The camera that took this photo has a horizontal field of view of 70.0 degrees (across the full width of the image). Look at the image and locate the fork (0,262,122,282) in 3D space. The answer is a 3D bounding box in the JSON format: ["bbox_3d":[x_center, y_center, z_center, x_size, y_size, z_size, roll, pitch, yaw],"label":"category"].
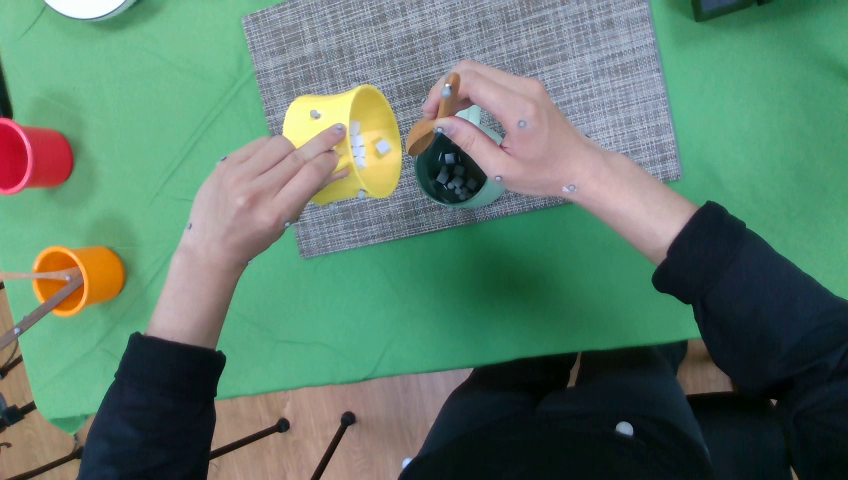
[{"bbox_3d":[-0.507,0.042,0.784,0.208,0.018,0.028,1,97,-28],"label":"fork"}]

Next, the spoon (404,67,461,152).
[{"bbox_3d":[0.009,-0.096,0.459,0.022,0.193,0.041,44,83,-7],"label":"spoon"}]

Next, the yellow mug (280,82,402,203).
[{"bbox_3d":[-0.077,-0.078,0.532,0.064,0.130,0.100,-4,116,26],"label":"yellow mug"}]

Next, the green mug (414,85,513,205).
[{"bbox_3d":[0.043,-0.097,0.631,0.092,0.105,0.125,6,99,15],"label":"green mug"}]

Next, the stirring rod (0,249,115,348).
[{"bbox_3d":[-0.478,0.074,0.786,0.014,0.006,0.175,40,63,6],"label":"stirring rod"}]

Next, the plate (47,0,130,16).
[{"bbox_3d":[-0.415,-0.387,0.758,0.207,0.039,0.208,2,98,15],"label":"plate"}]
